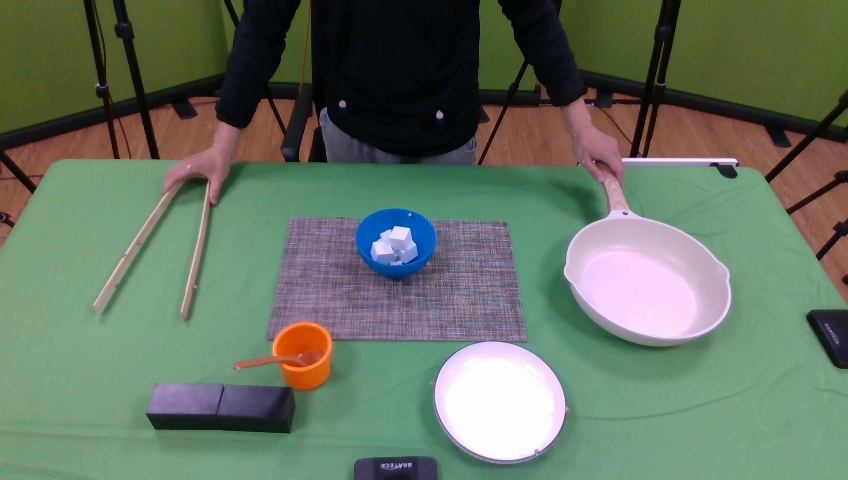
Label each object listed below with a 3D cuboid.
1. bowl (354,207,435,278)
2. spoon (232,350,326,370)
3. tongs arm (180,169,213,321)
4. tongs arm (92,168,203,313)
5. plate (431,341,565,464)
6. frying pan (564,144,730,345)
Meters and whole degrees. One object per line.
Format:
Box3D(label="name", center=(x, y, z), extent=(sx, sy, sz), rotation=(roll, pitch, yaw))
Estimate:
Box3D(label="bowl", center=(-0.056, 0.018, 1.132), extent=(0.151, 0.077, 0.150), rotation=(2, 46, -2))
Box3D(label="spoon", center=(-0.216, 0.182, 0.919), extent=(0.041, 0.194, 0.021), rotation=(43, 102, 27))
Box3D(label="tongs arm", center=(-0.438, -0.005, 1.166), extent=(0.028, 0.028, 0.385), rotation=(-4, 46, -6))
Box3D(label="tongs arm", center=(-0.517, -0.013, 1.161), extent=(0.051, 0.026, 0.382), rotation=(7, 45, 1))
Box3D(label="plate", center=(0.114, 0.255, 0.952), extent=(0.208, 0.039, 0.206), rotation=(3, 46, -2))
Box3D(label="frying pan", center=(0.396, -0.008, 1.179), extent=(0.307, 0.103, 0.484), rotation=(0, 55, -5))
